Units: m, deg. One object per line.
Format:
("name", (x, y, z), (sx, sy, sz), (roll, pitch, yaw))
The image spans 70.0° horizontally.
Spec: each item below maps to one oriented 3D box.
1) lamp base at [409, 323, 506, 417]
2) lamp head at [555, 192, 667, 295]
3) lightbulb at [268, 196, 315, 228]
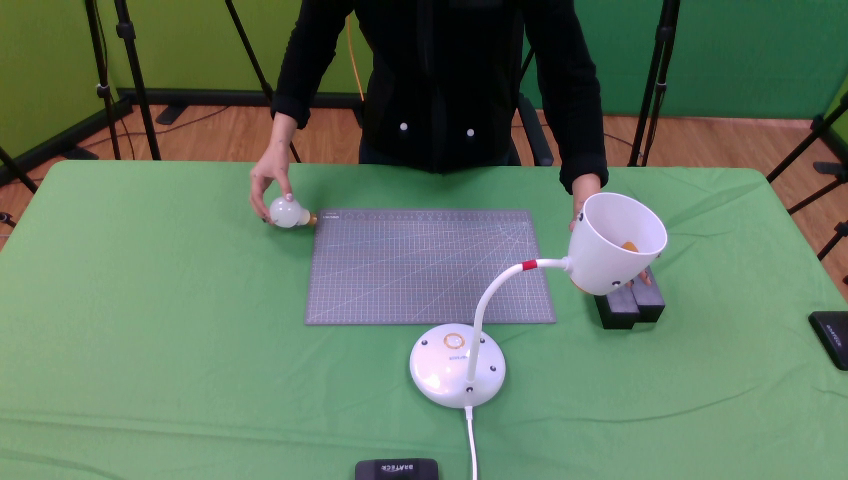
("lamp base", (0.063, 0.160, 0.940), (0.161, 0.181, 0.178), (-10, 50, -13))
("lamp head", (0.236, 0.015, 0.796), (0.113, 0.123, 0.111), (14, 42, -13))
("lightbulb", (-0.253, -0.049, 1.175), (0.108, 0.059, 0.059), (18, 25, -52))
